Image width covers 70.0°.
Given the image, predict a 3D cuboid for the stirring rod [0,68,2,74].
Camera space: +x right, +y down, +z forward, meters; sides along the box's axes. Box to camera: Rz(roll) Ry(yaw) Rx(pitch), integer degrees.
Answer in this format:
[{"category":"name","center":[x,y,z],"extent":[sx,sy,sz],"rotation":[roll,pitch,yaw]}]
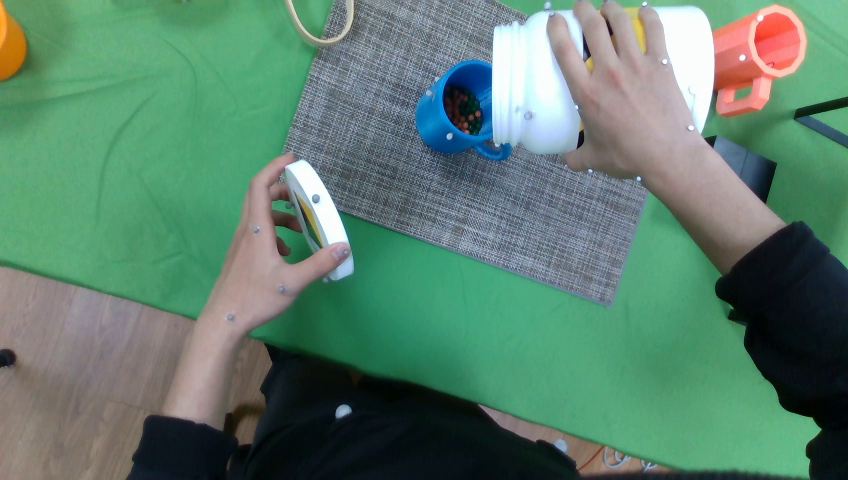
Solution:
[{"category":"stirring rod","center":[-0.454,-0.199,0.524],"extent":[0.006,0.178,0.014],"rotation":[9,70,28]}]

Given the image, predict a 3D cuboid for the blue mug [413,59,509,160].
[{"category":"blue mug","center":[0.049,-0.134,0.677],"extent":[0.117,0.105,0.082],"rotation":[46,80,-11]}]

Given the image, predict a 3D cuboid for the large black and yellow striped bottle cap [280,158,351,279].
[{"category":"large black and yellow striped bottle cap","center":[-0.101,-0.018,0.557],"extent":[0.019,0.114,0.115],"rotation":[-26,97,-22]}]

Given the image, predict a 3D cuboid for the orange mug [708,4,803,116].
[{"category":"orange mug","center":[0.410,-0.226,0.778],"extent":[0.084,0.100,0.126],"rotation":[9,85,-14]}]

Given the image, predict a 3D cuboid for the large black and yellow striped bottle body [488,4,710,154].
[{"category":"large black and yellow striped bottle body","center":[0.154,-0.147,0.567],"extent":[0.184,0.131,0.130],"rotation":[0,91,8]}]

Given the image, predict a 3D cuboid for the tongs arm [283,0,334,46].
[{"category":"tongs arm","center":[-0.179,-0.392,0.627],"extent":[0.051,0.026,0.386],"rotation":[-21,104,-17]}]

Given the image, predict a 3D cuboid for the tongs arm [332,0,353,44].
[{"category":"tongs arm","center":[-0.100,-0.413,0.650],"extent":[0.028,0.027,0.388],"rotation":[-7,100,-23]}]

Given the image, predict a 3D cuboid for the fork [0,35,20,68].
[{"category":"fork","center":[-0.455,-0.219,0.520],"extent":[0.028,0.018,0.209],"rotation":[-59,147,-7]}]
